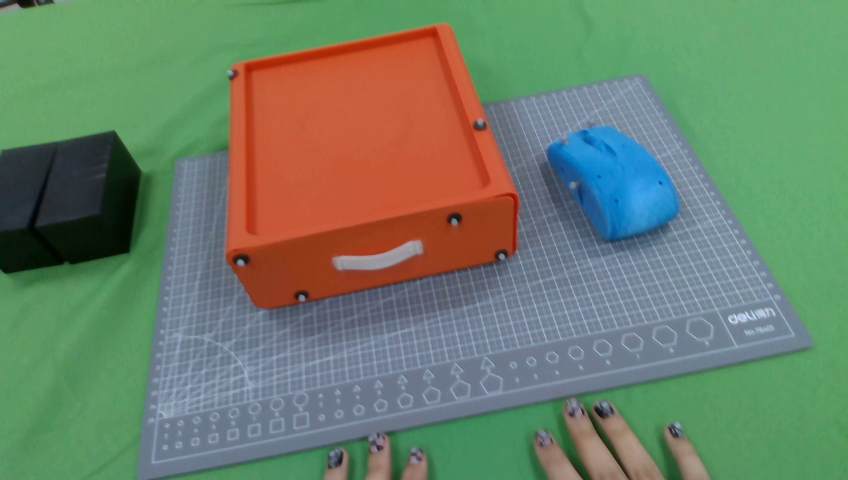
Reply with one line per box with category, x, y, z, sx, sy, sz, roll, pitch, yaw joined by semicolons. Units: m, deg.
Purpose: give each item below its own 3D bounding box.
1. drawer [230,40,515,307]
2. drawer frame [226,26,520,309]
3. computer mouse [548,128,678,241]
drawer;-0.048;-0.064;0.489;0.194;0.074;0.209;-12;51;-1
drawer frame;-0.048;-0.066;0.490;0.202;0.083;0.211;-12;51;-2
computer mouse;0.148;-0.051;0.484;0.063;0.041;0.116;-18;48;-5
